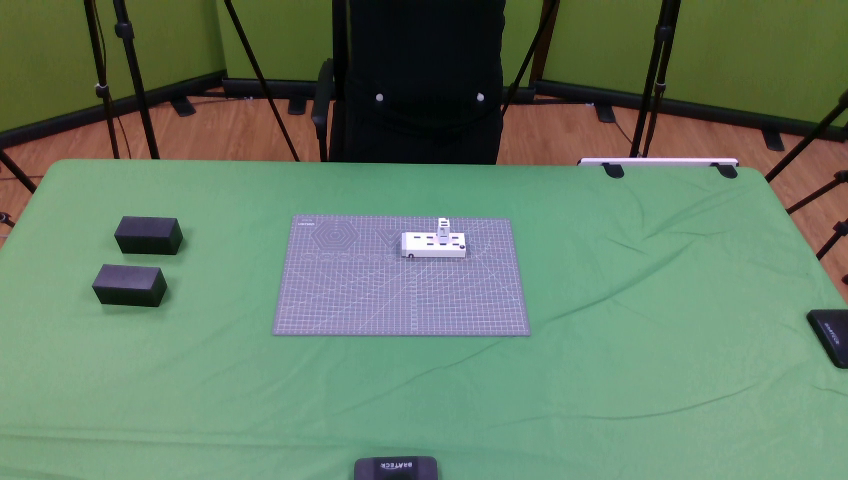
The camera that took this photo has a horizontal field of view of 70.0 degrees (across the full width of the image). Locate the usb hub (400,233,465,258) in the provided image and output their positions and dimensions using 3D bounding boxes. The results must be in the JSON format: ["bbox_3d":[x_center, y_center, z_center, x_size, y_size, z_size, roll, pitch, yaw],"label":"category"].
[{"bbox_3d":[0.017,0.011,1.182,0.125,0.025,0.049,1,46,-3],"label":"usb hub"}]

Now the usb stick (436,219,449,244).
[{"bbox_3d":[0.035,-0.012,1.166,0.021,0.059,0.027,-2,48,-6],"label":"usb stick"}]
